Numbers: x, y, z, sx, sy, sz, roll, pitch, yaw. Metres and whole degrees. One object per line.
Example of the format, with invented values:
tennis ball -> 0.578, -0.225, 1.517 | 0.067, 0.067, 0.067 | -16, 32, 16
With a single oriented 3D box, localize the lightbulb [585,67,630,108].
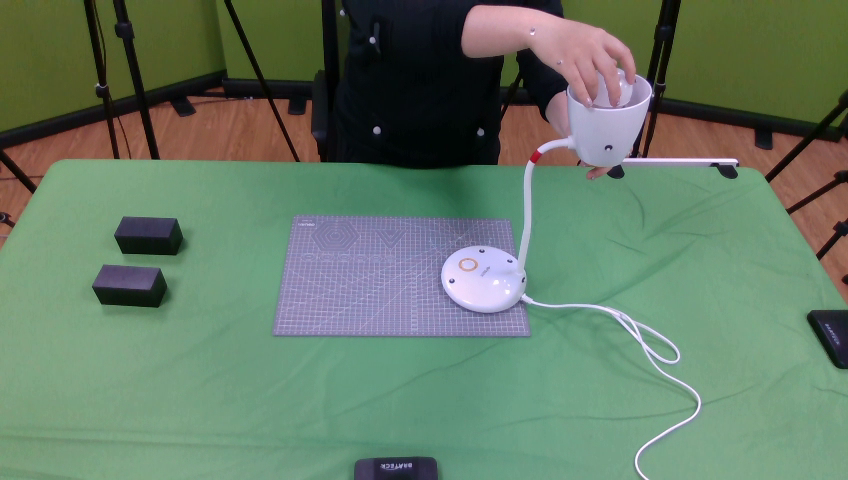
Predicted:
lightbulb -> 0.253, -0.186, 0.844 | 0.059, 0.108, 0.059 | -3, 34, 2

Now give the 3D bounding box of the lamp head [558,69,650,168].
lamp head -> 0.251, -0.164, 0.860 | 0.112, 0.123, 0.111 | 0, 42, 0

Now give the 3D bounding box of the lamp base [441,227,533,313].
lamp base -> 0.126, 0.022, 1.071 | 0.179, 0.181, 0.160 | 23, 49, 14
